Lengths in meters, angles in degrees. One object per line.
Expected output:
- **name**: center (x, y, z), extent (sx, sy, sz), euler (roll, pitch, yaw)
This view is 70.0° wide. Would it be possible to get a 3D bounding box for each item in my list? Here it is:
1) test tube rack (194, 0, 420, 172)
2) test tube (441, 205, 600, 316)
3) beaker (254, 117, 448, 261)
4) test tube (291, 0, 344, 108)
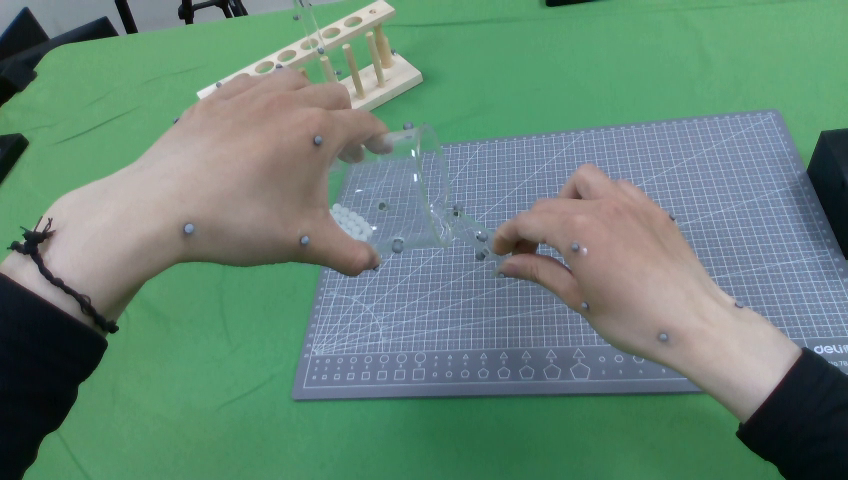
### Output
- **test tube rack**: center (-0.130, -0.184, 0.709), extent (0.242, 0.086, 0.066), euler (-32, 51, -12)
- **test tube**: center (0.071, 0.018, 0.420), extent (0.017, 0.151, 0.017), euler (-39, 34, 33)
- **beaker**: center (-0.041, -0.026, 0.365), extent (0.100, 0.084, 0.073), euler (-8, 74, 14)
- **test tube**: center (-0.117, -0.209, 0.667), extent (0.017, 0.152, 0.017), euler (-7, 49, 9)
